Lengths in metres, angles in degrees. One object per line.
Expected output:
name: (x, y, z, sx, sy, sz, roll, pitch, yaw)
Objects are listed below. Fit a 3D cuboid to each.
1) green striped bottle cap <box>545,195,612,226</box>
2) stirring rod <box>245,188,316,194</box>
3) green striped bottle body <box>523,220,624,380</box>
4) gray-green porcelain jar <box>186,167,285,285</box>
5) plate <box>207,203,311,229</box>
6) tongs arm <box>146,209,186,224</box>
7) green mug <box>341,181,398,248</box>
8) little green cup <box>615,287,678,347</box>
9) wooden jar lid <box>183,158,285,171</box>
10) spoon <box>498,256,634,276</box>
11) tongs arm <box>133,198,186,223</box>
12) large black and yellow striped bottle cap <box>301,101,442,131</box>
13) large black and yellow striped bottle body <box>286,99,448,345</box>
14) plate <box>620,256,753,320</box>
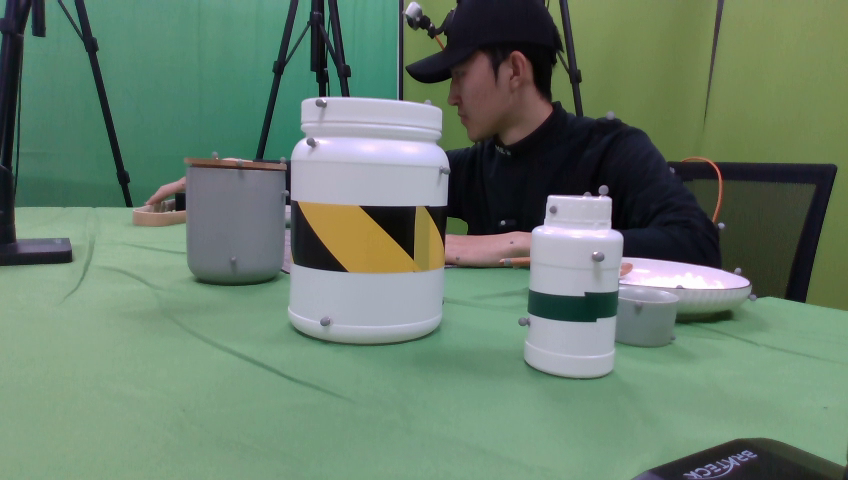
green striped bottle cap: (0.106, -0.020, 0.414, 0.044, 0.020, 0.044, 2, 4, 0)
stirring rod: (-0.351, -0.120, 1.489, 0.177, 0.014, 0.006, -3, 5, -28)
green striped bottle body: (0.104, 0.031, 0.422, 0.063, 0.119, 0.063, 2, 8, 0)
gray-green porcelain jar: (-0.212, -0.017, 0.682, 0.106, 0.126, 0.106, 2, 7, 0)
plate: (-0.342, -0.050, 1.259, 0.208, 0.039, 0.207, 3, 7, 0)
tongs arm: (-0.480, -0.063, 1.321, 0.028, 0.028, 0.388, 11, 7, 7)
green mug: (-0.089, -0.044, 0.997, 0.093, 0.105, 0.125, 1, 7, -8)
little green cup: (0.180, 0.064, 0.506, 0.061, 0.038, 0.061, 1, 8, 0)
wooden jar lid: (-0.210, -0.078, 0.674, 0.108, 0.020, 0.108, 5, 6, 0)
spoon: (0.162, 0.027, 0.679, 0.195, 0.021, 0.041, 8, 2, -30)
tongs arm: (-0.555, -0.069, 1.320, 0.051, 0.026, 0.384, 6, 6, -4)
large black and yellow striped bottle cap: (-0.042, -0.100, 0.491, 0.115, 0.019, 0.115, 1, 8, 0)
large black and yellow striped bottle body: (-0.047, -0.018, 0.501, 0.131, 0.184, 0.130, 2, 7, 0)
plate: (0.234, 0.049, 0.651, 0.209, 0.038, 0.209, 2, 7, 0)
